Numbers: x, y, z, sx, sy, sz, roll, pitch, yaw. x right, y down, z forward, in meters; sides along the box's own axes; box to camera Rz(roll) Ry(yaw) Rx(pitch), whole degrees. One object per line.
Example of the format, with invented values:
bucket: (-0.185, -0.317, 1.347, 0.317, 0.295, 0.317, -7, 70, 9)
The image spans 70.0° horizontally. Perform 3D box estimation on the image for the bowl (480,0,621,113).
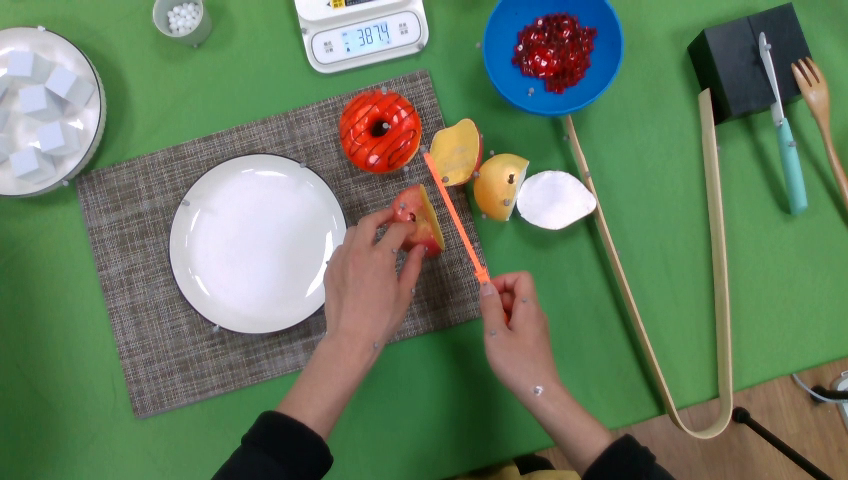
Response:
bowl: (0.137, -0.209, 0.682, 0.151, 0.077, 0.151, 0, 87, 3)

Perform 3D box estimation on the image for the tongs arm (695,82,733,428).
tongs arm: (0.323, 0.014, 0.685, 0.028, 0.028, 0.387, -2, 87, -5)

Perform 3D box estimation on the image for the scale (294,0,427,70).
scale: (-0.085, -0.314, 0.723, 0.148, 0.031, 0.200, -12, 87, 3)

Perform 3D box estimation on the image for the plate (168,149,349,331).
plate: (-0.187, 0.000, 0.703, 0.209, 0.038, 0.208, 0, 86, 3)

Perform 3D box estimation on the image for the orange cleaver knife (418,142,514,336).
orange cleaver knife: (0.041, -0.003, 0.613, 0.012, 0.077, 0.212, -25, 98, 4)

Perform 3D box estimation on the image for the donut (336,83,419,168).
donut: (-0.054, -0.132, 0.700, 0.099, 0.048, 0.099, 0, 88, 6)

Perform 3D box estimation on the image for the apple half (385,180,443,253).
apple half: (-0.015, -0.021, 0.677, 0.053, 0.075, 0.081, -19, 91, 11)

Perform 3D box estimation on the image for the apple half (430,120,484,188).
apple half: (0.046, -0.099, 0.700, 0.033, 0.081, 0.081, -17, 84, -42)

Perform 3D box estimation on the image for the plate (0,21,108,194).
plate: (-0.479, -0.157, 0.732, 0.207, 0.039, 0.207, 0, 86, 3)

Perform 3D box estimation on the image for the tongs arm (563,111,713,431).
tongs arm: (0.239, 0.031, 0.684, 0.051, 0.026, 0.384, -17, 87, -3)

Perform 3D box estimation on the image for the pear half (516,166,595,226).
pear half: (0.151, -0.047, 0.693, 0.087, 0.031, 0.070, 10, 83, 17)

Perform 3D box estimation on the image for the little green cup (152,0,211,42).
little green cup: (-0.289, -0.270, 0.728, 0.061, 0.039, 0.061, 0, 86, 3)

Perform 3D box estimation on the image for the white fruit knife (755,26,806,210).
white fruit knife: (0.388, -0.130, 0.663, 0.016, 0.027, 0.208, -19, 100, 2)

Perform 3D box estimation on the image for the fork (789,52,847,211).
fork: (0.447, -0.107, 0.666, 0.028, 0.018, 0.208, -26, 101, 0)

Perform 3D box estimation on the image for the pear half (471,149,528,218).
pear half: (0.080, -0.067, 0.661, 0.056, 0.110, 0.076, 16, 82, 5)
